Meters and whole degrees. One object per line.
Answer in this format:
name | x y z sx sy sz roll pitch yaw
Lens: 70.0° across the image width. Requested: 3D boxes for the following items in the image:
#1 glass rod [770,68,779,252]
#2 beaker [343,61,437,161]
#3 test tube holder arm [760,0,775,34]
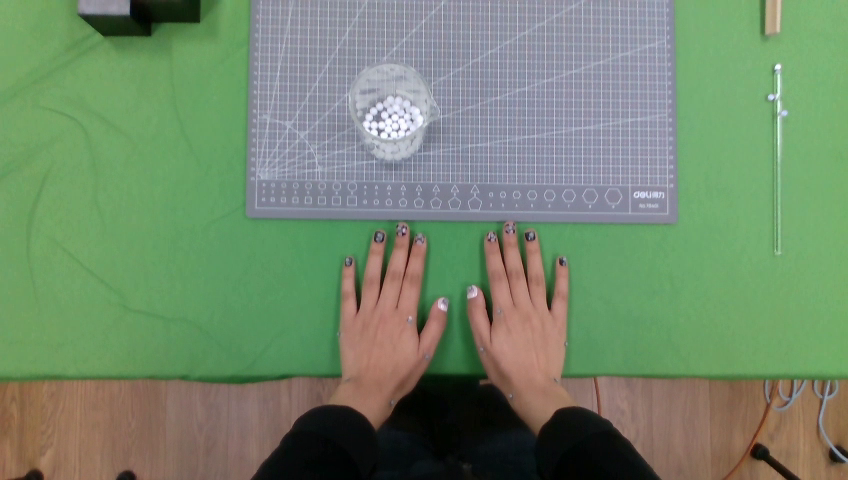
glass rod | 0.376 -0.087 0.650 0.008 0.008 0.199 2 86 -2
beaker | -0.031 -0.119 0.587 0.084 0.100 0.074 9 86 -2
test tube holder arm | 0.378 -0.312 0.658 0.013 0.015 0.178 9 86 -31
